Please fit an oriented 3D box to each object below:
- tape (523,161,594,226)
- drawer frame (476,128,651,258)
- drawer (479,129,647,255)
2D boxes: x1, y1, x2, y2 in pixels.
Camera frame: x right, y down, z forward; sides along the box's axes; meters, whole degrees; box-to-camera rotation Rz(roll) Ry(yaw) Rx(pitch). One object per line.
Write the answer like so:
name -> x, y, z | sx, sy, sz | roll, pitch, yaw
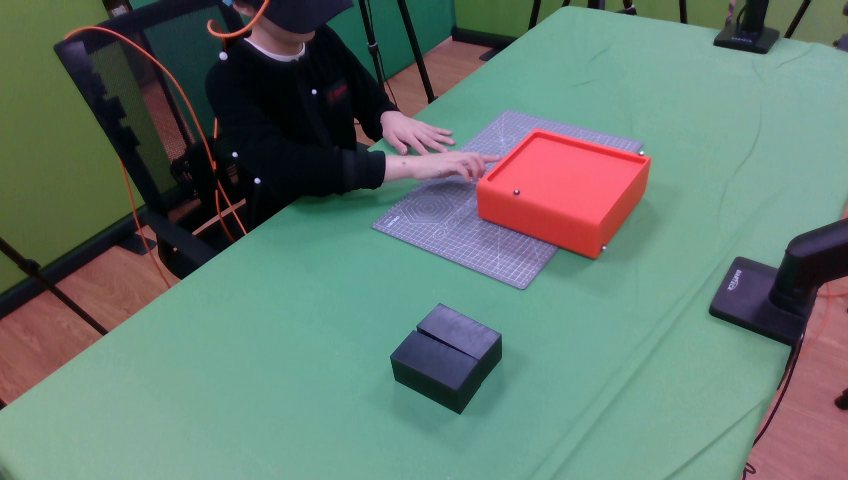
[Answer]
tape -> 0.221, -0.077, 0.996 | 0.117, 0.053, 0.116 | -4, 40, 4
drawer frame -> 0.229, -0.086, 0.992 | 0.212, 0.083, 0.202 | 22, 48, 29
drawer -> 0.228, -0.085, 0.994 | 0.210, 0.073, 0.195 | 23, 48, 29
